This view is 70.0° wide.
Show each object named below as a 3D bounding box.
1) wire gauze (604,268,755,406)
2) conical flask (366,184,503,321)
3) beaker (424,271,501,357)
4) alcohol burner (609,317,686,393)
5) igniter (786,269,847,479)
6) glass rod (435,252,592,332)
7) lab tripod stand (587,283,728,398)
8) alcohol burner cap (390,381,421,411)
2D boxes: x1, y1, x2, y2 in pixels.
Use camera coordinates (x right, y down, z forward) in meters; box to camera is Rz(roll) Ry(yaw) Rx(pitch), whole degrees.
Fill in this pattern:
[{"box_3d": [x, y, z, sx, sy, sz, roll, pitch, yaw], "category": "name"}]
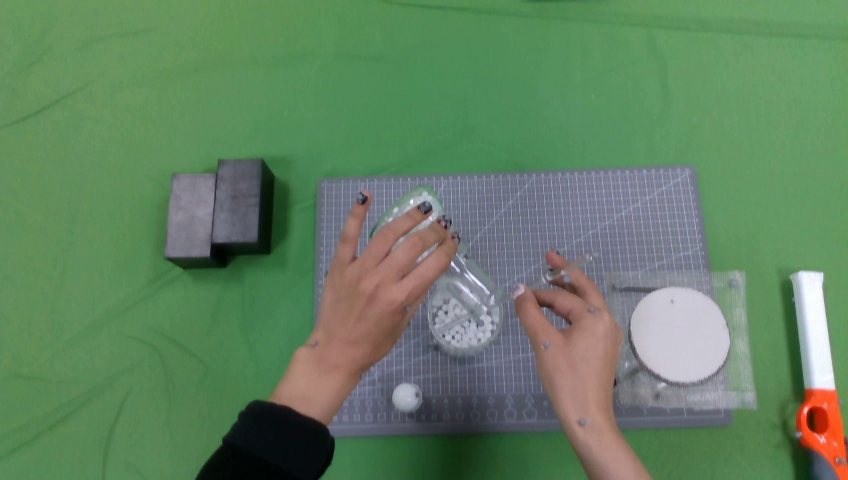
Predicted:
[{"box_3d": [0.226, 0.085, 0.538, 0.125, 0.011, 0.121, 1, 76, 2], "category": "wire gauze"}, {"box_3d": [0.014, 0.014, 0.531, 0.121, 0.075, 0.075, 45, 79, 5], "category": "conical flask"}, {"box_3d": [0.040, 0.081, 0.631, 0.074, 0.101, 0.083, 21, 75, 7], "category": "beaker"}, {"box_3d": [0.229, 0.114, 0.610, 0.078, 0.120, 0.077, -1, 75, 4], "category": "alcohol burner"}, {"box_3d": [0.415, 0.166, 0.639, 0.057, 0.025, 0.275, 5, 75, -9], "category": "igniter"}, {"box_3d": [0.071, 0.051, 0.538, 0.008, 0.199, 0.008, 19, 55, -30], "category": "glass rod"}, {"box_3d": [0.227, 0.104, 0.602, 0.148, 0.132, 0.147, 0, 76, 2], "category": "lab tripod stand"}, {"box_3d": [-0.021, 0.164, 0.639, 0.034, 0.048, 0.033, 0, 75, 1], "category": "alcohol burner cap"}]
